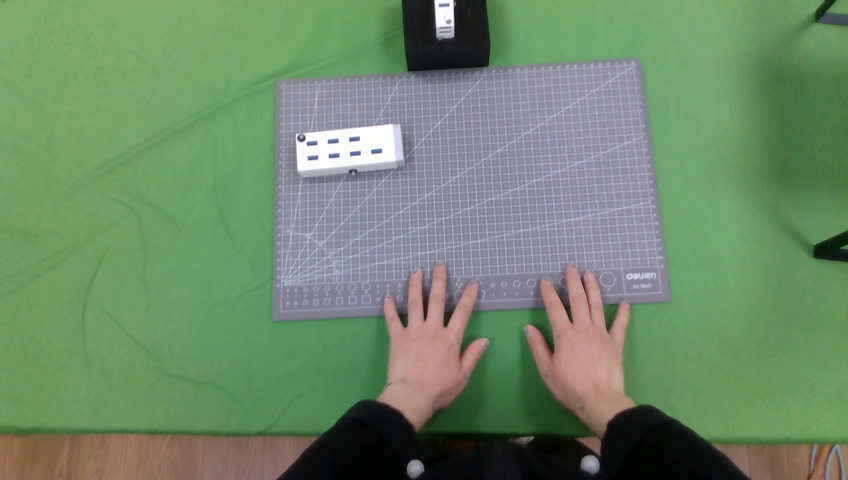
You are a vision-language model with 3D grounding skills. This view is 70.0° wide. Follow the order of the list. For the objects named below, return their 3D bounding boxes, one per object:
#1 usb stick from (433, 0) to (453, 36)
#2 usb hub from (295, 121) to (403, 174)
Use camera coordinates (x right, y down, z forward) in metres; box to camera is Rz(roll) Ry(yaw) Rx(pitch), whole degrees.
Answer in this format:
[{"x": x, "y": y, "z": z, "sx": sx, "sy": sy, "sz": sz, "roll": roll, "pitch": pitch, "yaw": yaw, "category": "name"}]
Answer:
[{"x": 0.022, "y": -0.269, "z": 0.702, "sx": 0.021, "sy": 0.027, "sz": 0.059, "roll": -3, "pitch": 74, "yaw": 4, "category": "usb stick"}, {"x": -0.089, "y": -0.111, "z": 0.719, "sx": 0.125, "sy": 0.025, "sz": 0.049, "roll": -5, "pitch": 77, "yaw": 0, "category": "usb hub"}]
